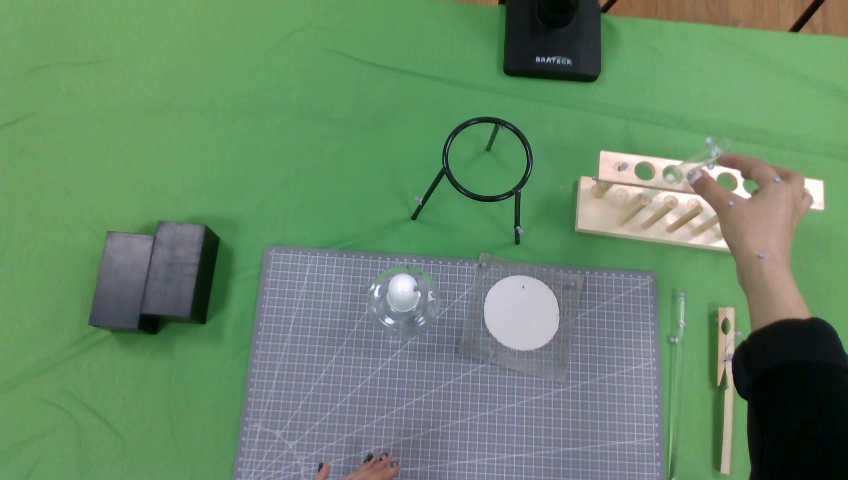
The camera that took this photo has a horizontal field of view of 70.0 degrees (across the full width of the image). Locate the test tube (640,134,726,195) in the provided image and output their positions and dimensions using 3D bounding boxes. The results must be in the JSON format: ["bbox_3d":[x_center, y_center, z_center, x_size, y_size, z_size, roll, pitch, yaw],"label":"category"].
[{"bbox_3d":[0.268,-0.076,0.640,0.017,0.150,0.017,2,76,-7],"label":"test tube"}]

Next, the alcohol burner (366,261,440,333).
[{"bbox_3d":[-0.022,0.055,0.626,0.078,0.119,0.077,0,75,0],"label":"alcohol burner"}]

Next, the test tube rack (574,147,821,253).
[{"bbox_3d":[0.302,-0.043,0.684,0.242,0.085,0.066,8,74,0],"label":"test tube rack"}]

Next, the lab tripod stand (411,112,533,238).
[{"bbox_3d":[0.057,-0.066,0.655,0.148,0.132,0.147,0,77,-2],"label":"lab tripod stand"}]

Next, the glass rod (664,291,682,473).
[{"bbox_3d":[0.276,0.153,0.670,0.008,0.008,0.199,10,77,0],"label":"glass rod"}]

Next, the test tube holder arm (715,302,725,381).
[{"bbox_3d":[0.333,0.114,0.680,0.010,0.015,0.087,-5,71,35],"label":"test tube holder arm"}]

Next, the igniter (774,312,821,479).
[{"bbox_3d":[0.404,0.214,0.650,0.057,0.025,0.275,14,75,-9],"label":"igniter"}]

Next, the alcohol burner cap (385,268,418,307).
[{"bbox_3d":[-0.022,0.044,0.592,0.034,0.048,0.033,1,69,-3],"label":"alcohol burner cap"}]

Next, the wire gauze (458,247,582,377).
[{"bbox_3d":[0.109,0.079,0.681,0.125,0.011,0.121,15,76,1],"label":"wire gauze"}]

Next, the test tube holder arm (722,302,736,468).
[{"bbox_3d":[0.334,0.156,0.665,0.013,0.015,0.177,-6,70,35],"label":"test tube holder arm"}]
